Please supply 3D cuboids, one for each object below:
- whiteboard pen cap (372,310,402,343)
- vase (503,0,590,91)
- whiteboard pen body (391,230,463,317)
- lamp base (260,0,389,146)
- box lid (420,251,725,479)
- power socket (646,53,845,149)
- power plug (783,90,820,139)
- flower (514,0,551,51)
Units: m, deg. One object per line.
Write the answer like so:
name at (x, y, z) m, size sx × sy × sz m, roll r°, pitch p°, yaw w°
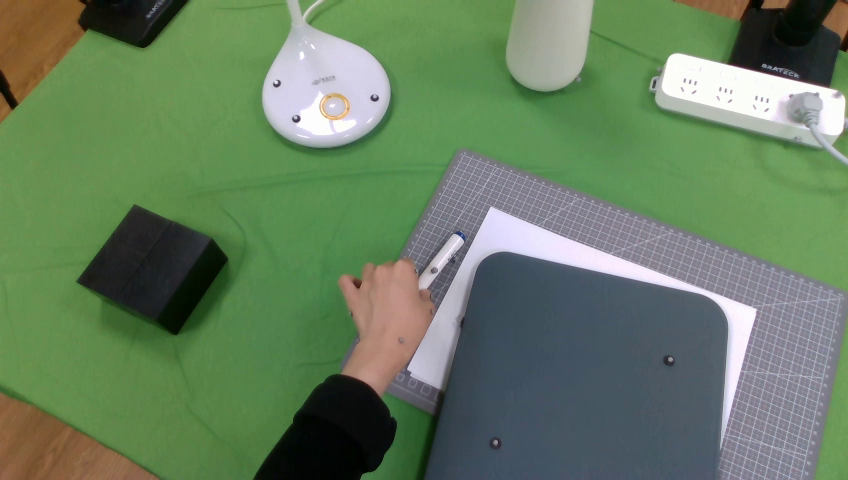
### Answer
whiteboard pen cap at (-0.037, 0.088, 0.621) m, size 0.018 × 0.018 × 0.033 m, roll 32°, pitch 68°, yaw 17°
vase at (0.144, -0.265, 0.693) m, size 0.098 × 0.201 × 0.097 m, roll -1°, pitch 63°, yaw 3°
whiteboard pen body at (-0.003, 0.044, 0.641) m, size 0.017 × 0.017 × 0.140 m, roll 33°, pitch 69°, yaw 17°
lamp base at (-0.135, -0.229, 0.696) m, size 0.161 × 0.182 × 0.177 m, roll -28°, pitch 63°, yaw -11°
box lid at (0.140, 0.193, 0.575) m, size 0.263 × 0.015 × 0.369 m, roll 13°, pitch 66°, yaw 8°
power socket at (0.385, -0.169, 0.729) m, size 0.226 × 0.033 × 0.072 m, roll 18°, pitch 67°, yaw 10°
power plug at (0.422, -0.138, 0.689) m, size 0.035 × 0.053 × 0.072 m, roll 28°, pitch 74°, yaw 15°
flower at (0.154, -0.286, 0.612) m, size 0.044 × 0.362 × 0.038 m, roll -17°, pitch 81°, yaw -15°
